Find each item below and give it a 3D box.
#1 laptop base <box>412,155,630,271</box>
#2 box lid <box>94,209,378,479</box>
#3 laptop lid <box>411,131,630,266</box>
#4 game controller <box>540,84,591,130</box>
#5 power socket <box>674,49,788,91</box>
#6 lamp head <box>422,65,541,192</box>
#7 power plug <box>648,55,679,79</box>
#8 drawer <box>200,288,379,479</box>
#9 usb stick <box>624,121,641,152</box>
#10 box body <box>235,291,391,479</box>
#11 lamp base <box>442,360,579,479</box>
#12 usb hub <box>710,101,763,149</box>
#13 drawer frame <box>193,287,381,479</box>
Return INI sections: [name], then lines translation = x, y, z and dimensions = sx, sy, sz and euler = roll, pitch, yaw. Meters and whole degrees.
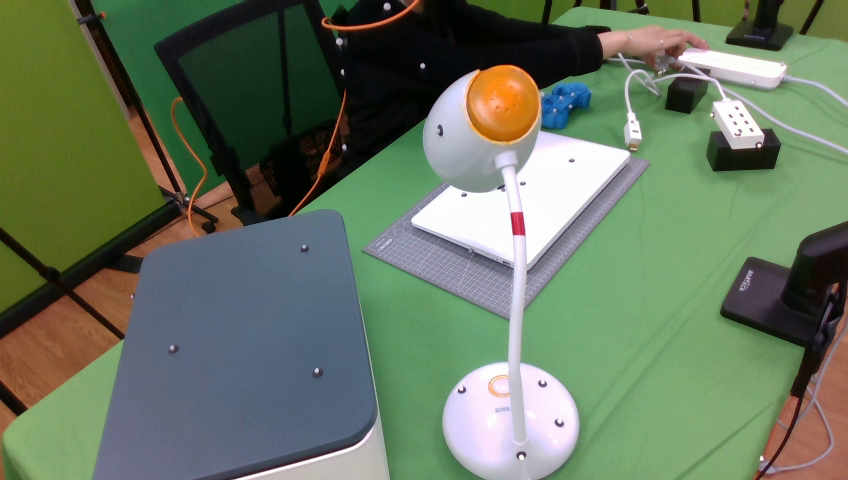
[laptop base]
translation = 0.176, -0.084, 1.056
dimensions = 0.233, 0.023, 0.355
euler = 20, 48, 36
[box lid]
translation = -0.202, 0.094, 0.680
dimensions = 0.264, 0.015, 0.368
euler = -13, 39, -5
[laptop lid]
translation = 0.172, -0.094, 1.050
dimensions = 0.239, 0.013, 0.358
euler = 23, 49, 36
[game controller]
translation = 0.277, -0.282, 1.251
dimensions = 0.096, 0.052, 0.155
euler = 27, 52, 30
[power socket]
translation = 0.647, -0.363, 1.284
dimensions = 0.225, 0.033, 0.072
euler = 26, 52, 35
[lamp head]
translation = 0.060, -0.106, 0.560
dimensions = 0.113, 0.112, 0.122
euler = -16, 0, -8
[power plug]
translation = 0.496, -0.356, 1.263
dimensions = 0.035, 0.053, 0.072
euler = -6, 37, -5
[drawer]
translation = -0.172, 0.176, 0.760
dimensions = 0.195, 0.073, 0.210
euler = -13, 42, -8
[usb stick]
translation = 0.390, -0.191, 1.129
dimensions = 0.021, 0.027, 0.059
euler = 7, 62, -7
[box body]
translation = -0.190, 0.161, 0.723
dimensions = 0.255, 0.161, 0.361
euler = -13, 40, -5
[lamp base]
translation = 0.094, 0.158, 0.657
dimensions = 0.161, 0.181, 0.178
euler = -13, 42, -5
[usb hub]
translation = 0.535, -0.199, 1.040
dimensions = 0.049, 0.025, 0.124
euler = -4, 39, 8
[drawer frame]
translation = -0.172, 0.176, 0.755
dimensions = 0.202, 0.083, 0.212
euler = -14, 42, -7
